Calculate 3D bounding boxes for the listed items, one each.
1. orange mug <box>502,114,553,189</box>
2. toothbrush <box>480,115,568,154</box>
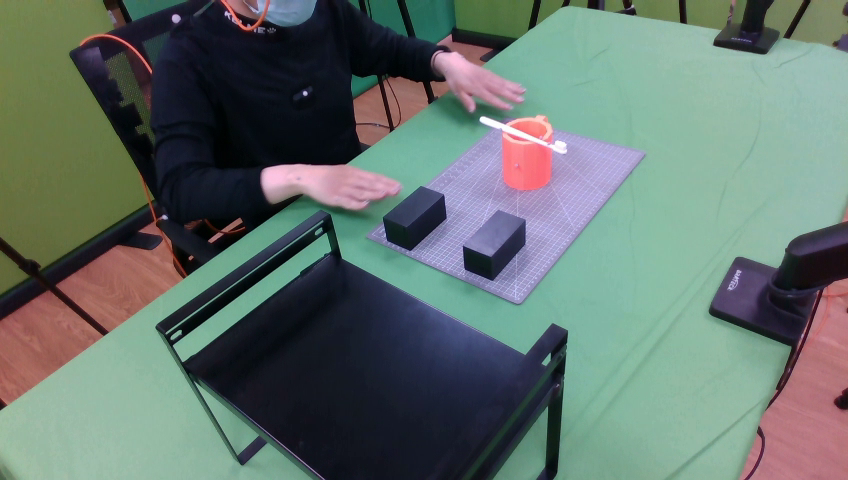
[{"bbox_3d":[0.190,-0.164,1.071,0.083,0.101,0.126,16,50,25],"label":"orange mug"},{"bbox_3d":[0.165,-0.181,1.014,0.180,0.017,0.014,30,59,35],"label":"toothbrush"}]
